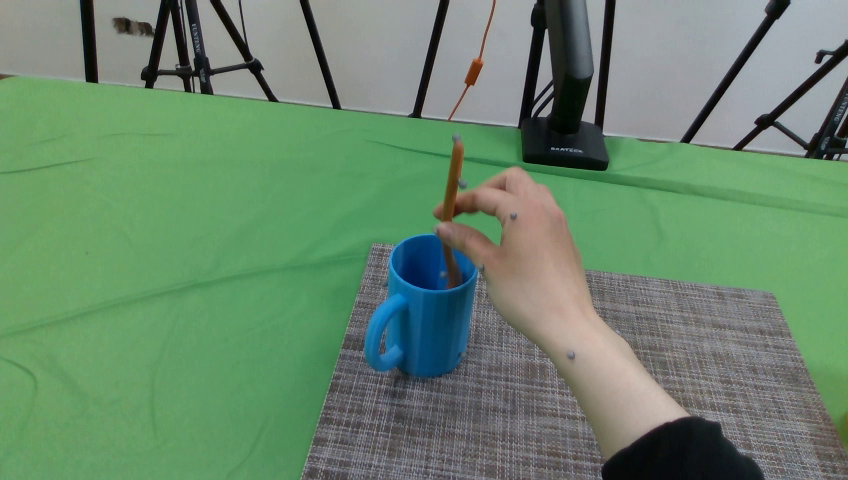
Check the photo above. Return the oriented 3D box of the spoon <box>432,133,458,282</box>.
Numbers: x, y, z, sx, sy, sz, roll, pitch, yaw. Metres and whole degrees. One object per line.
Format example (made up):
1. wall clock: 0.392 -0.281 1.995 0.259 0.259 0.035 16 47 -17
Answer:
1. spoon: 0.015 -0.007 0.479 0.021 0.195 0.041 0 51 2

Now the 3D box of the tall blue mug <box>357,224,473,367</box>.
1. tall blue mug: -0.006 0.060 0.531 0.077 0.109 0.106 13 41 8
